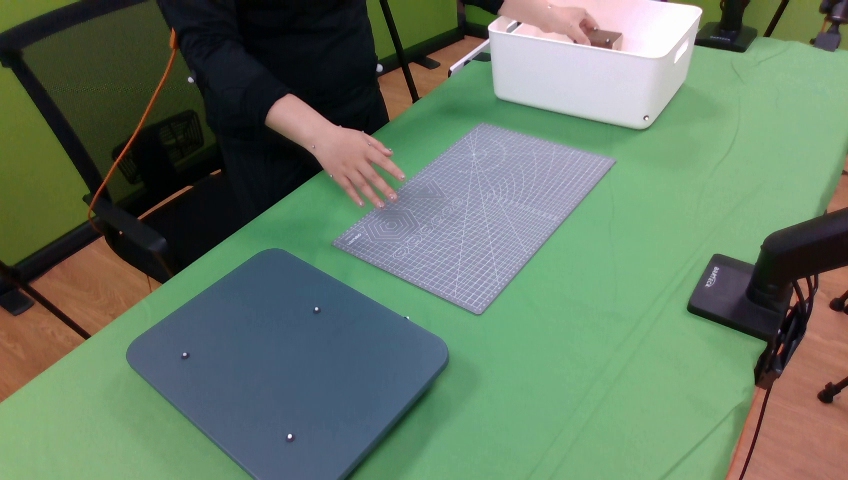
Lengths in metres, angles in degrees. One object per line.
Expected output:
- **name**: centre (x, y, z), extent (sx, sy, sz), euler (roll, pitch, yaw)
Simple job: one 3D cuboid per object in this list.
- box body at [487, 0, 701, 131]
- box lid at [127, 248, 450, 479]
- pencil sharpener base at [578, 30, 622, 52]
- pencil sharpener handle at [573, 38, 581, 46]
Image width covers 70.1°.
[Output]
- **box body**: centre (0.345, -0.379, 1.257), extent (0.361, 0.161, 0.255), euler (20, 48, 29)
- **box lid**: centre (-0.177, 0.145, 0.768), extent (0.368, 0.015, 0.264), euler (24, 50, 32)
- **pencil sharpener base**: centre (0.362, -0.374, 1.262), extent (0.076, 0.107, 0.061), euler (19, 45, 27)
- **pencil sharpener handle**: centre (0.314, -0.396, 1.272), extent (0.030, 0.068, 0.036), euler (20, 21, 27)
